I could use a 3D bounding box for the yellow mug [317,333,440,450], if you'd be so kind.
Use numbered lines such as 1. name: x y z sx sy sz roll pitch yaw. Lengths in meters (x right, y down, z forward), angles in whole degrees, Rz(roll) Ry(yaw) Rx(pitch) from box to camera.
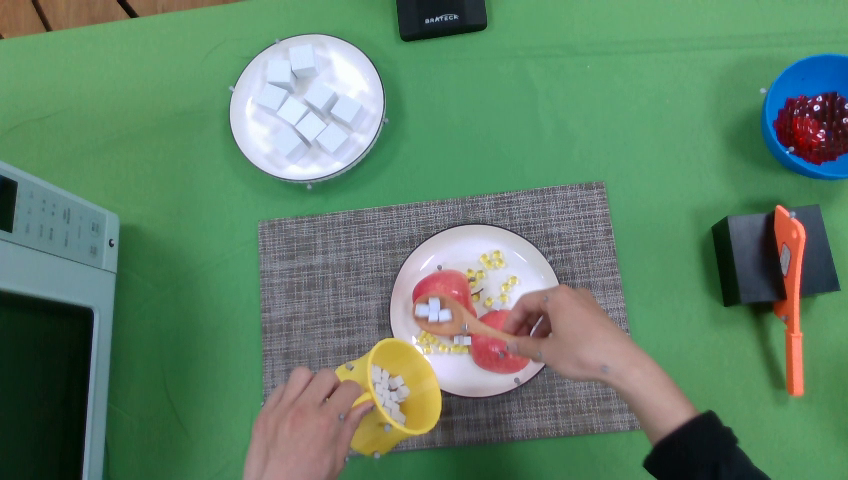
1. yellow mug: -0.050 0.154 0.601 0.064 0.131 0.099 -36 71 32

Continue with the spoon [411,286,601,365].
1. spoon: 0.077 0.089 0.596 0.192 0.022 0.041 17 87 20

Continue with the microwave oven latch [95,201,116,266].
1. microwave oven latch: -0.414 -0.008 0.773 0.030 0.029 0.079 -1 79 5

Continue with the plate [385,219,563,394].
1. plate: 0.058 0.078 0.726 0.209 0.038 0.208 -1 79 5

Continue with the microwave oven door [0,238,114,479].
1. microwave oven door: -0.418 0.185 0.629 0.039 0.245 0.354 -3 78 5

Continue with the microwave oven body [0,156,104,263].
1. microwave oven body: -0.564 0.152 0.655 0.326 0.261 0.439 -3 78 4

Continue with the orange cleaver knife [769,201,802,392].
1. orange cleaver knife: 0.403 0.063 0.678 0.012 0.077 0.212 -5 101 8

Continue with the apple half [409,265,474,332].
1. apple half: 0.019 0.068 0.716 0.074 0.053 0.080 -8 78 6

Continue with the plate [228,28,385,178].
1. plate: -0.153 -0.179 0.804 0.207 0.039 0.206 -1 78 5

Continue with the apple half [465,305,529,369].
1. apple half: 0.085 0.114 0.710 0.081 0.033 0.081 -1 75 5

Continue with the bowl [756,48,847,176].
1. bowl: 0.462 -0.139 0.717 0.151 0.077 0.150 -1 78 6
